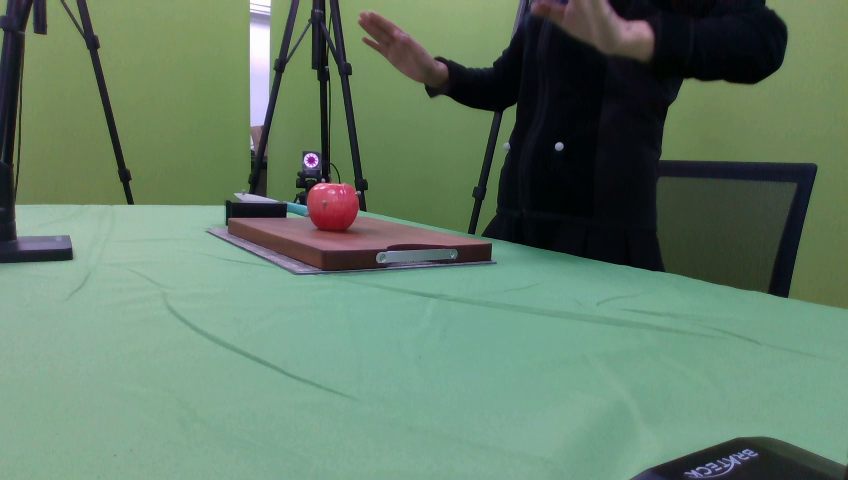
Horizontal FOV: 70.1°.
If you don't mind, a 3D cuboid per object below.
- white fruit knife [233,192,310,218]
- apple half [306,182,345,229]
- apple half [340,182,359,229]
[{"bbox_3d":[-0.276,-0.066,1.210,0.208,0.027,0.016,14,0,-24],"label":"white fruit knife"},{"bbox_3d":[-0.158,-0.054,0.950,0.053,0.074,0.080,-5,13,-20],"label":"apple half"},{"bbox_3d":[-0.120,-0.056,0.963,0.033,0.081,0.081,-5,9,-20],"label":"apple half"}]
